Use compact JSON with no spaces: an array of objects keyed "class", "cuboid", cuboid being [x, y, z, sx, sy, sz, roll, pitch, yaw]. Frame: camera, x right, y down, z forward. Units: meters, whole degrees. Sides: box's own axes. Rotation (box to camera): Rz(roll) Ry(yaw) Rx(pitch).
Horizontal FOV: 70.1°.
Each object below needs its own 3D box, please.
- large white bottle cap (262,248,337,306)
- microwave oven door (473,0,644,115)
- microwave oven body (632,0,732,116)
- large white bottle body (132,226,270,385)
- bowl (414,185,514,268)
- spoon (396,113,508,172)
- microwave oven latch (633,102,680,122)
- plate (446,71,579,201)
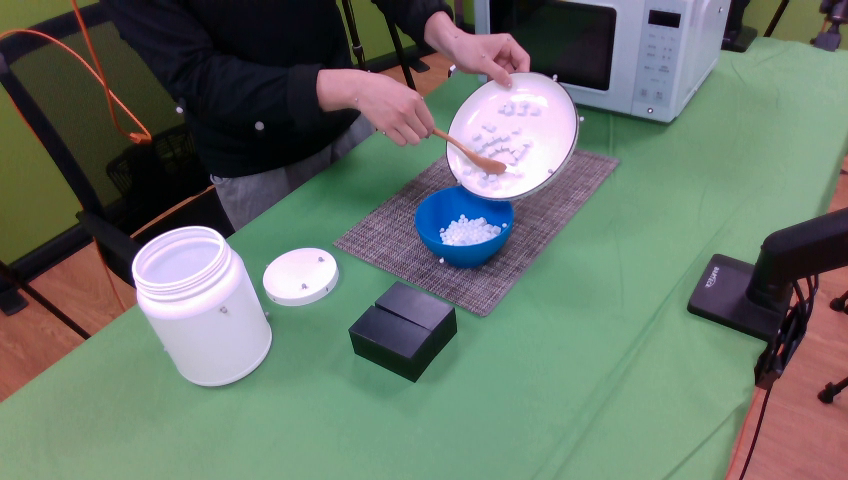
[{"class":"large white bottle cap","cuboid":[-0.193,0.056,0.934,0.115,0.018,0.114,-4,41,4]},{"class":"microwave oven door","cuboid":[0.257,-0.396,1.199,0.353,0.245,0.039,21,48,29]},{"class":"microwave oven body","cuboid":[0.377,-0.463,1.267,0.438,0.261,0.327,21,48,30]},{"class":"large white bottle body","cuboid":[-0.286,0.085,0.784,0.130,0.185,0.130,-4,41,4]},{"class":"bowl","cuboid":[0.063,-0.010,0.922,0.151,0.077,0.150,-4,40,4]},{"class":"spoon","cuboid":[0.041,-0.150,0.924,0.193,0.042,0.021,32,89,13]},{"class":"microwave oven latch","cuboid":[0.443,-0.249,1.157,0.078,0.029,0.030,21,49,30]},{"class":"plate","cuboid":[0.133,-0.154,0.917,0.208,0.038,0.208,-9,70,25]}]
